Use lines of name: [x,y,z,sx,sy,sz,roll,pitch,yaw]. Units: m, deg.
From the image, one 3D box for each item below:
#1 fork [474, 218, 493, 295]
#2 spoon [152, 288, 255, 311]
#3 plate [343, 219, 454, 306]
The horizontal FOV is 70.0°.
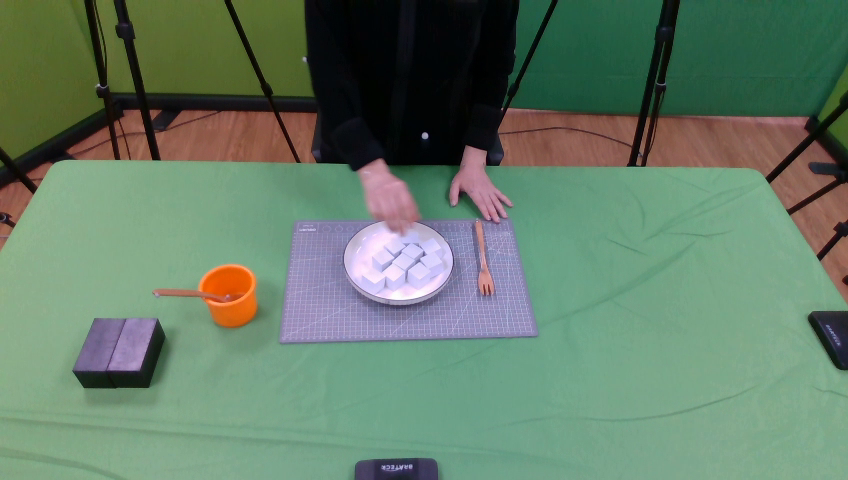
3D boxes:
fork: [0.112,0.029,1.177,0.028,0.019,0.206,-2,48,0]
spoon: [-0.357,0.092,0.992,0.021,0.195,0.041,-47,59,13]
plate: [-0.047,0.045,1.136,0.208,0.039,0.206,2,46,-2]
